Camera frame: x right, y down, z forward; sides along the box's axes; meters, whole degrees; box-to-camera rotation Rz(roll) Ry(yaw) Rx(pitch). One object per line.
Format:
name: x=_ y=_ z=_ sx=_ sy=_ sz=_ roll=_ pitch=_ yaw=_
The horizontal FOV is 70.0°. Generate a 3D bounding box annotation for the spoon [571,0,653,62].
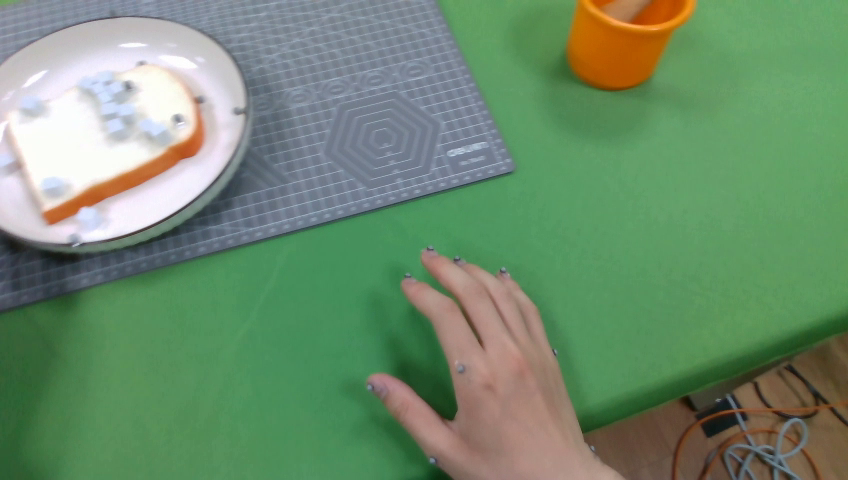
spoon: x=0.193 y=-0.204 z=0.459 sx=0.193 sy=0.022 sz=0.041 roll=-32 pitch=58 yaw=28

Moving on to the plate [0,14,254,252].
plate: x=-0.229 y=-0.080 z=0.451 sx=0.209 sy=0.038 sz=0.207 roll=1 pitch=63 yaw=-1

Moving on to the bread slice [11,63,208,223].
bread slice: x=-0.233 y=-0.083 z=0.455 sx=0.131 sy=0.019 sz=0.104 roll=-30 pitch=68 yaw=-14
